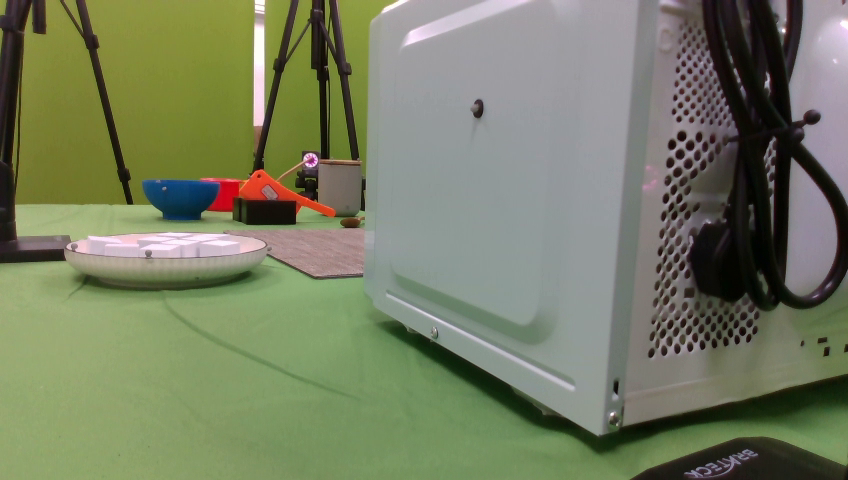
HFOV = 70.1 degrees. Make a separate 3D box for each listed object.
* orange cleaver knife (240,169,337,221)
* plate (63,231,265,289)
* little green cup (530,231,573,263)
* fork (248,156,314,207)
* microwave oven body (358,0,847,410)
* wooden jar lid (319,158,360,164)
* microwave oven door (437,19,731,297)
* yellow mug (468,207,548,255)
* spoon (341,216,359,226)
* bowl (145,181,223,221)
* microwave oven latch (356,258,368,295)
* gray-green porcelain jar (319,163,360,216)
[{"bbox_3d":[-0.287,-0.082,1.298,0.212,0.077,0.012,25,-2,-31],"label":"orange cleaver knife"},{"bbox_3d":[-0.288,0.021,0.687,0.208,0.039,0.207,2,8,0],"label":"plate"},{"bbox_3d":[0.184,0.010,0.880,0.061,0.038,0.061,5,10,-1],"label":"little green cup"},{"bbox_3d":[-0.360,-0.147,1.523,0.207,0.019,0.028,-43,17,-6],"label":"fork"},{"bbox_3d":[0.210,-0.051,0.471,0.444,0.260,0.324,-1,7,-28],"label":"microwave oven body"},{"bbox_3d":[-0.203,-0.189,1.482,0.108,0.020,0.108,2,10,0],"label":"wooden jar lid"},{"bbox_3d":[0.181,-0.076,0.618,0.358,0.243,0.039,-2,9,-28],"label":"microwave oven door"},{"bbox_3d":[0.136,-0.015,0.950,0.131,0.064,0.099,3,5,-20],"label":"yellow mug"},{"bbox_3d":[-0.132,-0.048,1.305,0.041,0.021,0.194,-13,4,14],"label":"spoon"},{"bbox_3d":[-0.499,-0.082,1.261,0.151,0.077,0.151,2,8,0],"label":"bowl"},{"bbox_3d":[-0.019,0.031,0.529,0.079,0.029,0.030,-1,7,-26],"label":"microwave oven latch"},{"bbox_3d":[-0.204,-0.126,1.490,0.106,0.126,0.106,2,8,0],"label":"gray-green porcelain jar"}]
